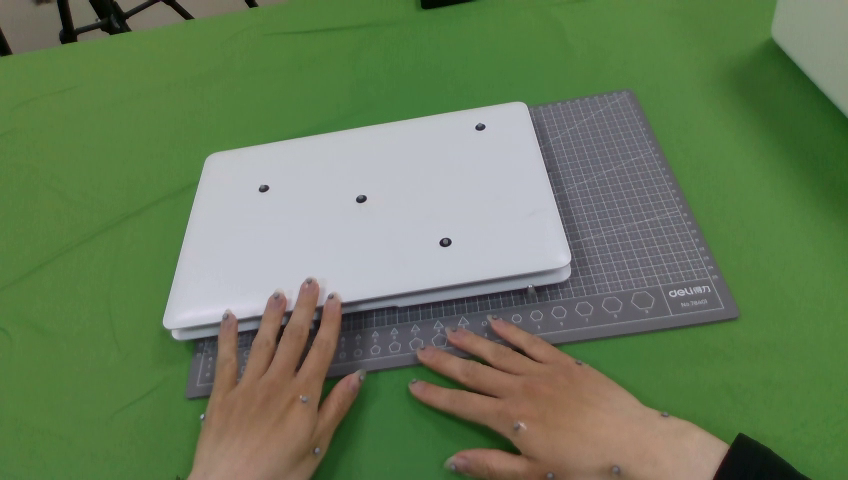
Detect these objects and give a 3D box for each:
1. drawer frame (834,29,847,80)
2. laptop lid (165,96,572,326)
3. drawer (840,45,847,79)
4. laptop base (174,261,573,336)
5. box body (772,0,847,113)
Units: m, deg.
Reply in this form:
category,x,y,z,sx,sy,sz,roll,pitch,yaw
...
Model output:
category,x,y,z,sx,sy,sz,roll,pitch,yaw
drawer frame,0.509,-0.132,0.511,0.201,0.083,0.211,-9,49,3
laptop lid,-0.058,-0.040,0.576,0.356,0.013,0.239,-8,49,5
drawer,0.508,-0.129,0.512,0.194,0.074,0.209,-11,51,6
laptop base,-0.054,-0.029,0.592,0.354,0.023,0.233,-9,53,4
box body,0.508,-0.182,0.510,0.254,0.162,0.360,-13,50,1
